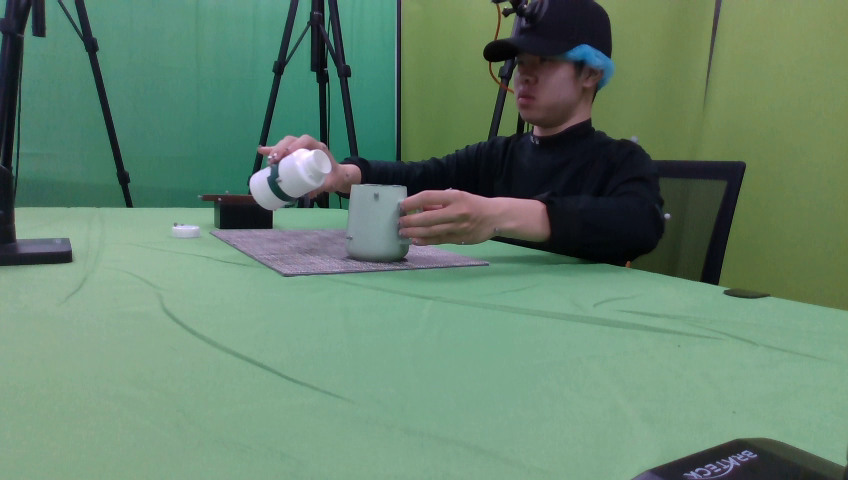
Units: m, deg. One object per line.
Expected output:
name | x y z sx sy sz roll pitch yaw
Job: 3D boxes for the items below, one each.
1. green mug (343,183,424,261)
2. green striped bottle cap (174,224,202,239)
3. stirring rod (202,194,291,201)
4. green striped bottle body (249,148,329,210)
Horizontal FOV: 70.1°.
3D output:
green mug | -0.053 -0.026 0.849 0.125 0.105 0.093 7 8 33
green striped bottle cap | -0.404 -0.015 1.036 0.044 0.020 0.044 -1 9 1
stirring rod | -0.353 -0.086 1.216 0.177 0.014 0.006 -1 12 -27
green striped bottle body | -0.198 -0.095 0.905 0.119 0.063 0.063 -24 -6 27
